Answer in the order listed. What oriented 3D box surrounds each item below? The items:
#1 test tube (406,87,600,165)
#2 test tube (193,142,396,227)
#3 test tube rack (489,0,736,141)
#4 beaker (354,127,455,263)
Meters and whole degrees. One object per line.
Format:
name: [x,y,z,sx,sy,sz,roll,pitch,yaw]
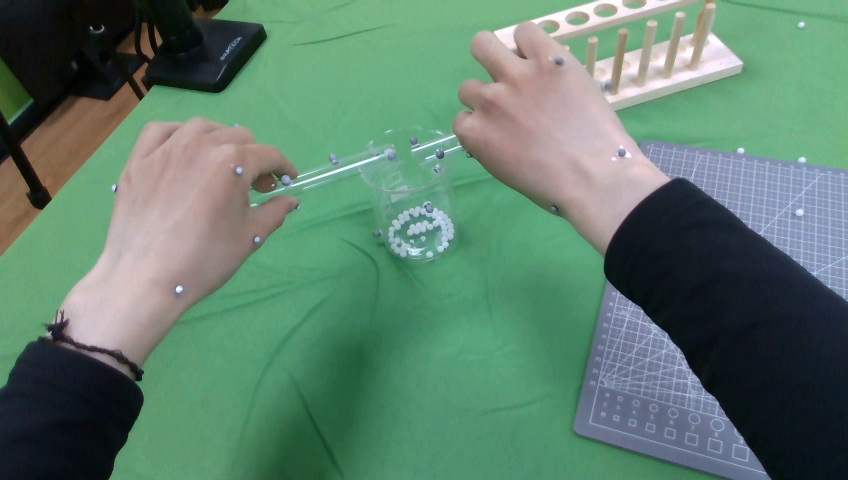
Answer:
test tube: [0.059,-0.085,0.452,0.150,0.017,0.017,-18,52,3]
test tube: [-0.091,-0.041,0.435,0.150,0.017,0.017,-21,52,-12]
test tube rack: [0.191,-0.184,0.603,0.242,0.086,0.066,-17,52,-4]
beaker: [-0.010,-0.035,0.513,0.084,0.101,0.073,-39,57,-21]
